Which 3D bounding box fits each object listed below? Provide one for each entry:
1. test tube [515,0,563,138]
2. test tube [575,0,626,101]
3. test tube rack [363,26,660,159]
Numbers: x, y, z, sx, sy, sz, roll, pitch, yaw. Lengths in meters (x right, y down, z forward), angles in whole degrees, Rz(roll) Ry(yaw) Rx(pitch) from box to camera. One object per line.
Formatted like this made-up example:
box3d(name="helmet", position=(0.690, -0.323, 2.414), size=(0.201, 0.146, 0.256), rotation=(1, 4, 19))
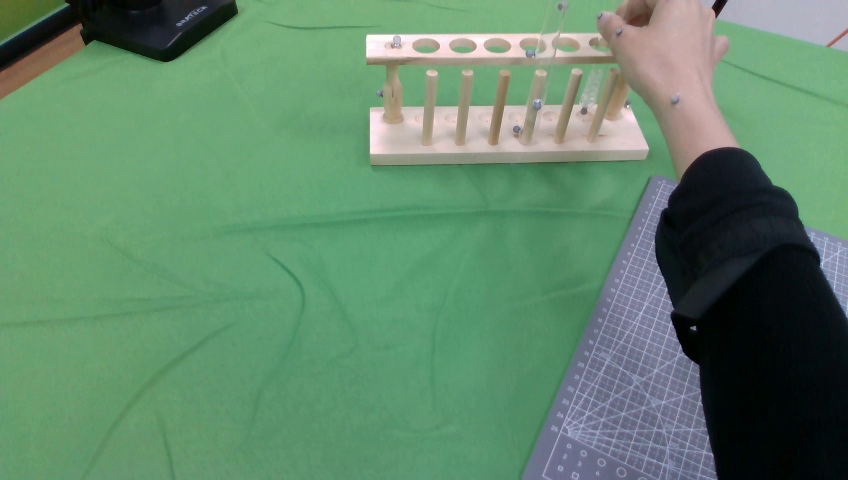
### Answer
box3d(name="test tube", position=(0.090, -0.141, 0.473), size=(0.017, 0.152, 0.017), rotation=(2, 50, -2))
box3d(name="test tube", position=(0.147, -0.174, 0.488), size=(0.017, 0.151, 0.017), rotation=(3, 52, -3))
box3d(name="test tube rack", position=(0.072, -0.125, 0.517), size=(0.242, 0.086, 0.066), rotation=(-2, 50, -4))
